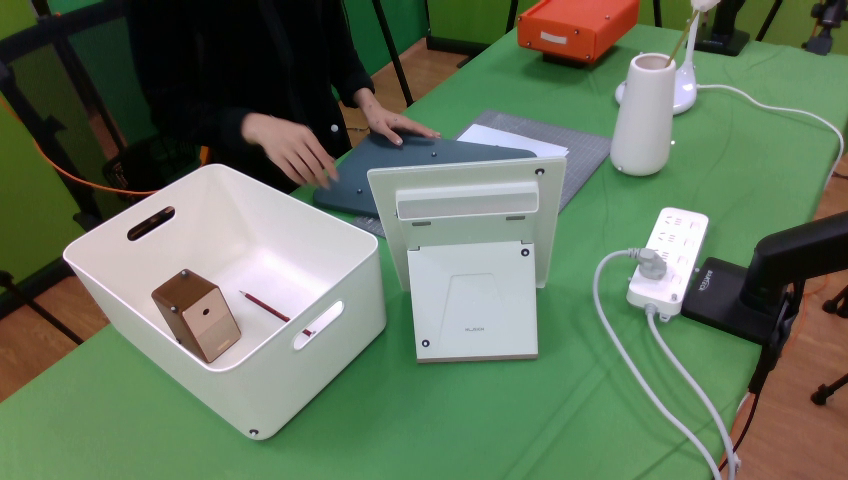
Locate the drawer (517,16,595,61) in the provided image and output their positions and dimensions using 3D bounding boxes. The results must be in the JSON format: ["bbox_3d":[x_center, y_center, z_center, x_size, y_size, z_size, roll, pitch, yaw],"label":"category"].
[{"bbox_3d":[0.353,-0.505,1.404,0.193,0.073,0.212,25,50,33],"label":"drawer"}]

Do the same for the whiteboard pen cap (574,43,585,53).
[{"bbox_3d":[0.346,-0.430,1.350,0.018,0.018,0.033,16,38,24],"label":"whiteboard pen cap"}]

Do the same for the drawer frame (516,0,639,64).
[{"bbox_3d":[0.356,-0.507,1.410,0.200,0.083,0.214,25,51,32],"label":"drawer frame"}]

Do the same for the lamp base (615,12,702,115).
[{"bbox_3d":[0.484,-0.364,1.211,0.180,0.181,0.159,-15,41,-14],"label":"lamp base"}]

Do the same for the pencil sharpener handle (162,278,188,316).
[{"bbox_3d":[-0.350,0.077,0.841,0.030,0.068,0.036,22,47,32],"label":"pencil sharpener handle"}]

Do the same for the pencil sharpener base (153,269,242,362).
[{"bbox_3d":[-0.308,0.103,0.824,0.076,0.107,0.061,22,50,32],"label":"pencil sharpener base"}]

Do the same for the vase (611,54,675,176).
[{"bbox_3d":[0.377,-0.209,1.031,0.098,0.201,0.097,-3,40,3],"label":"vase"}]

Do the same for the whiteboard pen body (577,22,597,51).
[{"bbox_3d":[0.372,-0.468,1.390,0.017,0.017,0.141,14,47,23],"label":"whiteboard pen body"}]

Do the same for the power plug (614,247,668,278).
[{"bbox_3d":[0.306,0.031,0.851,0.072,0.053,0.035,24,49,33],"label":"power plug"}]

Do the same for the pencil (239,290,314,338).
[{"bbox_3d":[-0.207,0.111,0.873,0.192,0.012,0.012,24,49,31],"label":"pencil"}]

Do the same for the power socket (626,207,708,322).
[{"bbox_3d":[0.359,0.025,0.886,0.072,0.033,0.227,16,46,26],"label":"power socket"}]

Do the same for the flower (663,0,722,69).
[{"bbox_3d":[0.379,-0.261,0.965,0.044,0.362,0.038,21,53,5],"label":"flower"}]

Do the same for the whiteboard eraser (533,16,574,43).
[{"bbox_3d":[0.305,-0.493,1.422,0.055,0.042,0.113,27,43,25],"label":"whiteboard eraser"}]

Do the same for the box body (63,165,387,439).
[{"bbox_3d":[-0.257,0.068,0.824,0.361,0.161,0.255,24,49,31],"label":"box body"}]

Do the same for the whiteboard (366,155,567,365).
[{"bbox_3d":[0.059,0.050,0.738,0.217,0.307,0.143,-3,60,5],"label":"whiteboard"}]

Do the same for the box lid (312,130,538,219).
[{"bbox_3d":[0.007,-0.113,1.114,0.369,0.015,0.263,11,44,21],"label":"box lid"}]
